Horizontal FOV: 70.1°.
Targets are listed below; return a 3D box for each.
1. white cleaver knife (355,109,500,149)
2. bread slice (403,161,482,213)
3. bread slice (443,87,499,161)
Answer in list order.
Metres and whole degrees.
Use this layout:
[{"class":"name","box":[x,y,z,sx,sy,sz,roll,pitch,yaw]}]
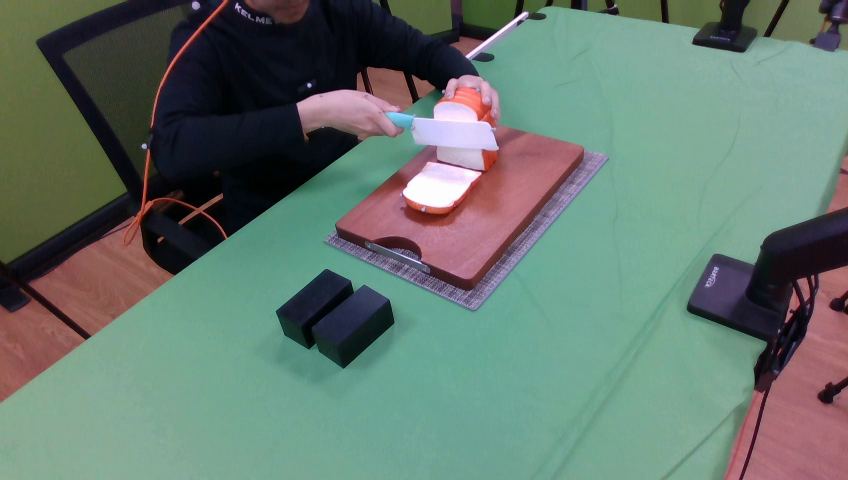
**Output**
[{"class":"white cleaver knife","box":[-0.003,-0.190,1.051,0.284,0.066,0.021,13,51,29]},{"class":"bread slice","box":[0.024,-0.088,1.021,0.104,0.019,0.132,16,41,22]},{"class":"bread slice","box":[0.082,-0.205,1.069,0.106,0.135,0.018,19,48,25]}]
